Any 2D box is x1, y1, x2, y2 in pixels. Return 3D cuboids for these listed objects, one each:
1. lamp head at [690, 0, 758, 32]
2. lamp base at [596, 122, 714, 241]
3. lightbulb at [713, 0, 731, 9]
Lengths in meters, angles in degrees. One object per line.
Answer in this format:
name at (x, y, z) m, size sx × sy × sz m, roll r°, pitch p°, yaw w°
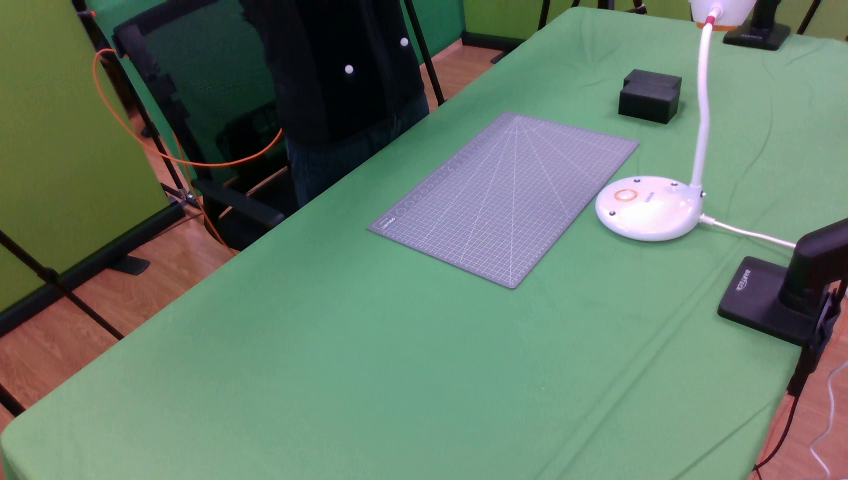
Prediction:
lamp head at (0.434, -0.363, 0.870) m, size 0.112 × 0.123 × 0.112 m, roll 1°, pitch 28°, yaw 0°
lamp base at (0.363, -0.110, 0.921) m, size 0.178 × 0.181 × 0.160 m, roll 13°, pitch 45°, yaw 21°
lightbulb at (0.432, -0.387, 0.863) m, size 0.059 × 0.108 × 0.059 m, roll -5°, pitch 31°, yaw 4°
